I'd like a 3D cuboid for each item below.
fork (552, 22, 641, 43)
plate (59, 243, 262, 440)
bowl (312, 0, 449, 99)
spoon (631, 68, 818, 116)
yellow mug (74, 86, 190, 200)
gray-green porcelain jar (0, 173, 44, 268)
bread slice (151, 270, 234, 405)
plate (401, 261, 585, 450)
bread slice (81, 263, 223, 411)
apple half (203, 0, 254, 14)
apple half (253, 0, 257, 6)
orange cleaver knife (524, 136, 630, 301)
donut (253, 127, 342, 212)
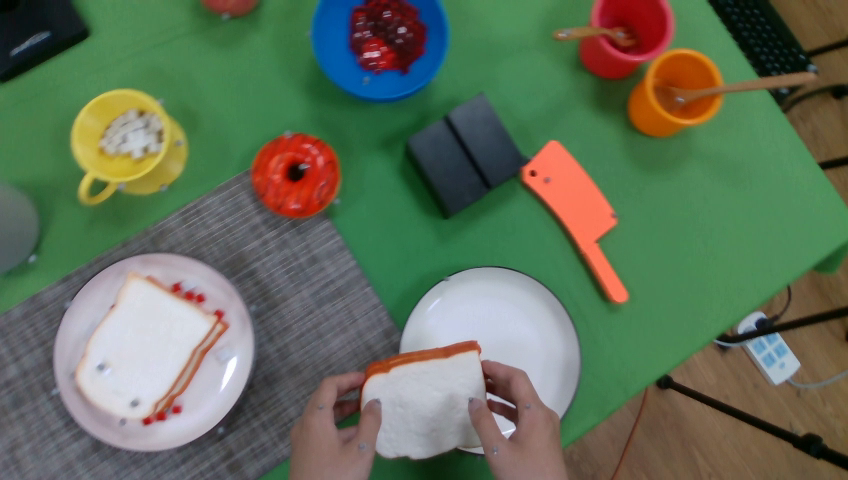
[{"bbox_3d":[0.199,-0.236,0.686,0.208,0.018,0.028,-21,84,-48],"label":"fork"},{"bbox_3d":[-0.279,0.108,0.657,0.208,0.039,0.207,1,83,-5],"label":"plate"},{"bbox_3d":[-0.050,-0.226,0.698,0.151,0.077,0.151,1,84,-5],"label":"bowl"},{"bbox_3d":[0.333,-0.172,0.689,0.022,0.192,0.041,14,79,-48],"label":"spoon"},{"bbox_3d":[-0.327,-0.098,0.666,0.100,0.064,0.130,34,83,0],"label":"yellow mug"},{"bbox_3d":[-0.465,-0.026,0.616,0.106,0.126,0.105,1,83,-5],"label":"gray-green porcelain jar"},{"bbox_3d":[-0.287,0.114,0.658,0.105,0.019,0.131,30,80,-2],"label":"bread slice"},{"bbox_3d":[0.077,0.128,0.688,0.209,0.038,0.208,1,83,-5],"label":"plate"},{"bbox_3d":[-0.286,0.107,0.631,0.107,0.018,0.134,26,81,2],"label":"bread slice"},{"bbox_3d":[-0.233,-0.278,0.689,0.081,0.081,0.032,24,77,-1],"label":"apple half"},{"bbox_3d":[-0.219,-0.313,0.696,0.081,0.075,0.053,24,76,2],"label":"apple half"},{"bbox_3d":[0.197,-0.028,0.727,0.077,0.012,0.211,-31,85,-14],"label":"orange cleaver knife"},{"bbox_3d":[-0.143,-0.079,0.687,0.099,0.048,0.099,1,84,-5],"label":"donut"}]
